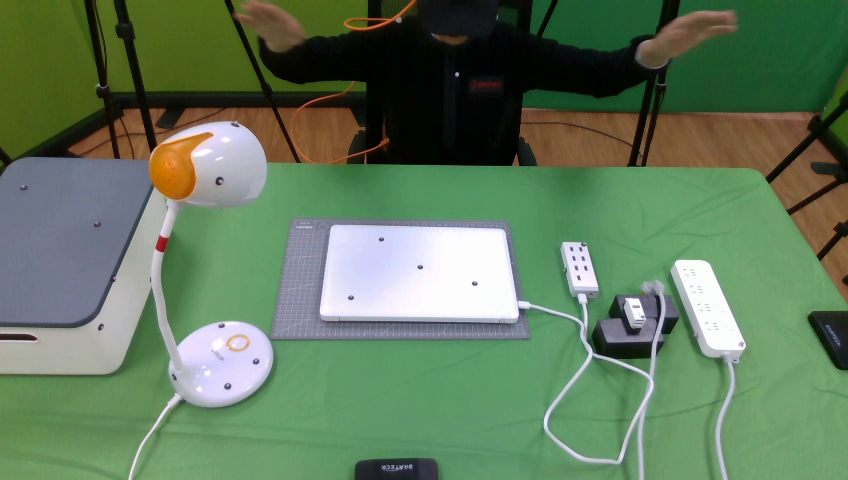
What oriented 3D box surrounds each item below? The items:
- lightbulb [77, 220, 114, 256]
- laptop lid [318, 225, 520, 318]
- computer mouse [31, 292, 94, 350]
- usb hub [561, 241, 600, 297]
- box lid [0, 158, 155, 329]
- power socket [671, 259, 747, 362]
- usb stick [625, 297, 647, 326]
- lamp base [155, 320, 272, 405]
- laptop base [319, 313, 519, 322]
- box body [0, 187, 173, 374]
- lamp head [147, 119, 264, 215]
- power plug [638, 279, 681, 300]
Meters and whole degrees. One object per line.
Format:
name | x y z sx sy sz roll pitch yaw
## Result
lightbulb | -0.614 -0.009 1.139 0.059 0.060 0.107 -14 28 -16
laptop lid | -0.009 0.052 1.131 0.357 0.013 0.240 2 43 -2
computer mouse | -0.602 0.130 1.009 0.063 0.041 0.116 -1 42 -1
usb hub | 0.300 0.054 1.162 0.049 0.025 0.124 2 46 -3
box lid | -0.598 -0.011 0.964 0.263 0.015 0.369 1 45 -3
power socket | 0.516 0.119 1.108 0.072 0.033 0.225 1 46 -2
usb stick | 0.360 0.116 1.034 0.021 0.027 0.059 -2 44 -2
lamp base | -0.330 0.149 0.918 0.160 0.181 0.179 26 52 20
laptop base | -0.009 0.062 1.137 0.354 0.023 0.234 1 42 -3
box body | -0.601 0.039 1.019 0.254 0.161 0.361 1 46 -3
lamp head | -0.276 -0.087 0.740 0.112 0.112 0.123 20 23 15
power plug | 0.434 0.099 1.119 0.073 0.053 0.035 33 38 -17
